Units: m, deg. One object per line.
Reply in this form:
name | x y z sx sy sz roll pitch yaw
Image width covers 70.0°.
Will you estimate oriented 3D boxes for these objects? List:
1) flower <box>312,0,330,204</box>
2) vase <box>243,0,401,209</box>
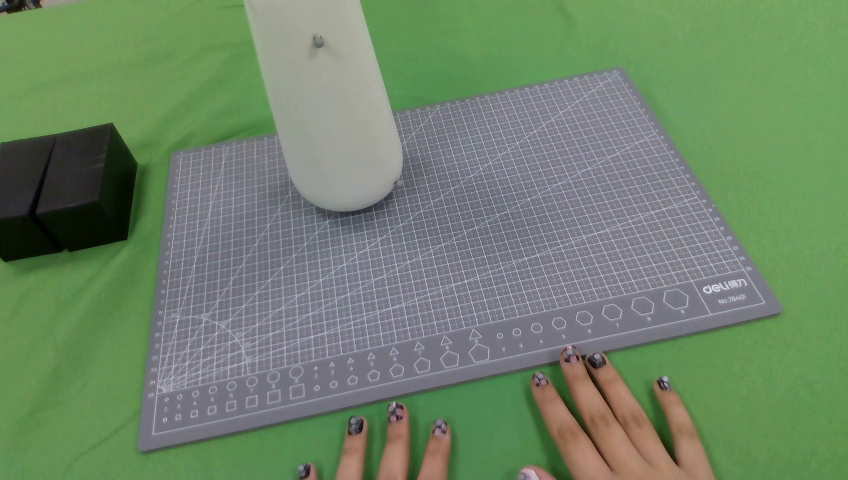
flower | -0.072 -0.178 0.404 0.044 0.364 0.038 14 37 13
vase | -0.076 -0.116 0.462 0.098 0.202 0.097 -4 50 5
